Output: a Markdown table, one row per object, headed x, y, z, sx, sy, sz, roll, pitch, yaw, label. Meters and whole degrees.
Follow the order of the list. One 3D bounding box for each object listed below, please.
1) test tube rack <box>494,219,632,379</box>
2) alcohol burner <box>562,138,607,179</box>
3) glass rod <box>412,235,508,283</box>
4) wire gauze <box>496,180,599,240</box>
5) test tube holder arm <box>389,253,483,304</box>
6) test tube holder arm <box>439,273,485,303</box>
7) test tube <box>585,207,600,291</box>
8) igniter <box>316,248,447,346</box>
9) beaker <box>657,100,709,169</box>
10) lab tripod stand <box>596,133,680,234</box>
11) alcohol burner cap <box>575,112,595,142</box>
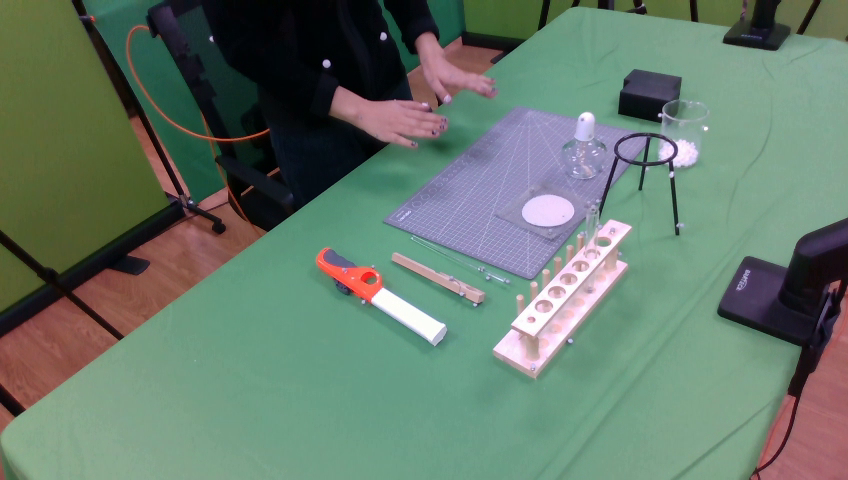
| x | y | z | sx | sy | sz | roll | pitch | yaw | label |
| --- | --- | --- | --- | --- | --- | --- | --- | --- | --- |
| 0.191 | 0.068 | 0.818 | 0.066 | 0.085 | 0.243 | 25 | 51 | 35 | test tube rack |
| 0.280 | -0.167 | 1.052 | 0.078 | 0.119 | 0.077 | -5 | 38 | 4 | alcohol burner |
| 0.051 | 0.028 | 0.951 | 0.198 | 0.008 | 0.008 | 25 | 51 | 37 | glass rod |
| 0.206 | -0.050 | 1.012 | 0.125 | 0.011 | 0.120 | -34 | 45 | -26 | wire gauze |
| 0.015 | 0.056 | 0.916 | 0.177 | 0.015 | 0.013 | 24 | 15 | 33 | test tube holder arm |
| 0.053 | 0.070 | 0.896 | 0.087 | 0.015 | 0.010 | 24 | 15 | 34 | test tube holder arm |
| 0.222 | 0.016 | 0.797 | 0.017 | 0.151 | 0.017 | -6 | 45 | 7 | test tube |
| -0.074 | 0.078 | 0.902 | 0.274 | 0.025 | 0.057 | 29 | 63 | 36 | igniter |
| 0.449 | -0.183 | 1.054 | 0.073 | 0.101 | 0.084 | 16 | 45 | 27 | beaker |
| 0.338 | -0.091 | 0.940 | 0.148 | 0.132 | 0.147 | -7 | 39 | 6 | lab tripod stand |
| 0.276 | -0.194 | 1.028 | 0.034 | 0.048 | 0.033 | -2 | 45 | 3 | alcohol burner cap |
